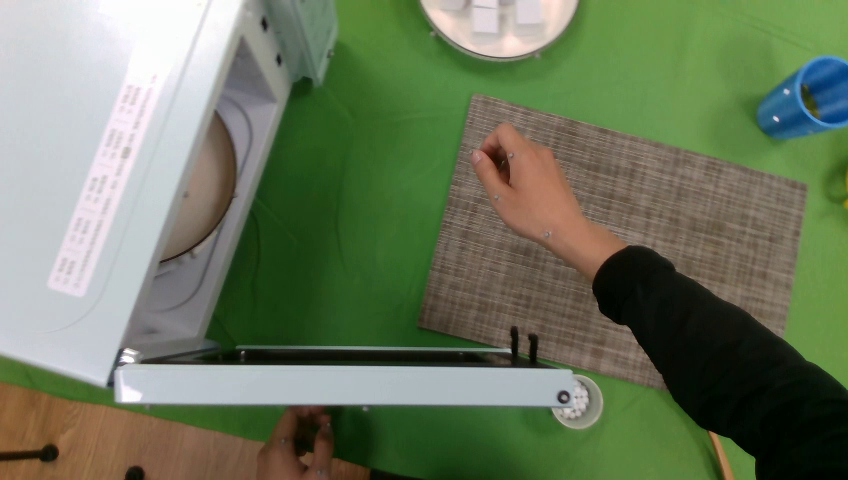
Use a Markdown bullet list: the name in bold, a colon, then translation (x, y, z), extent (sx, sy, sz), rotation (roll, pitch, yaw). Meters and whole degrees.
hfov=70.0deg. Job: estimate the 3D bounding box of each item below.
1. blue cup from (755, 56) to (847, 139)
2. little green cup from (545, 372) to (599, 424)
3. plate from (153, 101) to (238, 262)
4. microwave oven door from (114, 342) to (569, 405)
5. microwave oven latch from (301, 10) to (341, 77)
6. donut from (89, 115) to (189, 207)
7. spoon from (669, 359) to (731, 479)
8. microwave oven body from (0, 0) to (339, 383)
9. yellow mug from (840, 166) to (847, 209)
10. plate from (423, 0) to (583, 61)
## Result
- **blue cup**: translation (0.465, -0.166, 0.746), extent (0.093, 0.100, 0.092), rotation (0, 86, -4)
- **little green cup**: translation (0.171, 0.185, 0.717), extent (0.061, 0.039, 0.061), rotation (1, 81, -4)
- **plate**: translation (-0.303, -0.078, 0.643), extent (0.209, 0.038, 0.208), rotation (1, 85, -6)
- **microwave oven door**: translation (-0.067, 0.125, 0.584), extent (0.356, 0.244, 0.039), rotation (2, 83, -4)
- **microwave oven latch**: translation (-0.123, -0.236, 0.719), extent (0.030, 0.029, 0.079), rotation (22, 84, -2)
- **donut**: translation (-0.297, -0.082, 0.634), extent (0.099, 0.048, 0.099), rotation (0, 85, -3)
- **spoon**: translation (0.341, 0.235, 0.731), extent (0.042, 0.021, 0.193), rotation (-21, 87, -22)
- **microwave oven body**: translation (-0.310, -0.125, 0.596), extent (0.326, 0.260, 0.440), rotation (18, 84, -3)
- **yellow mug**: translation (0.588, -0.071, 0.763), extent (0.131, 0.064, 0.100), rotation (-27, 86, -6)
- **plate**: translation (0.097, -0.322, 0.764), extent (0.208, 0.039, 0.207), rotation (1, 84, -4)
